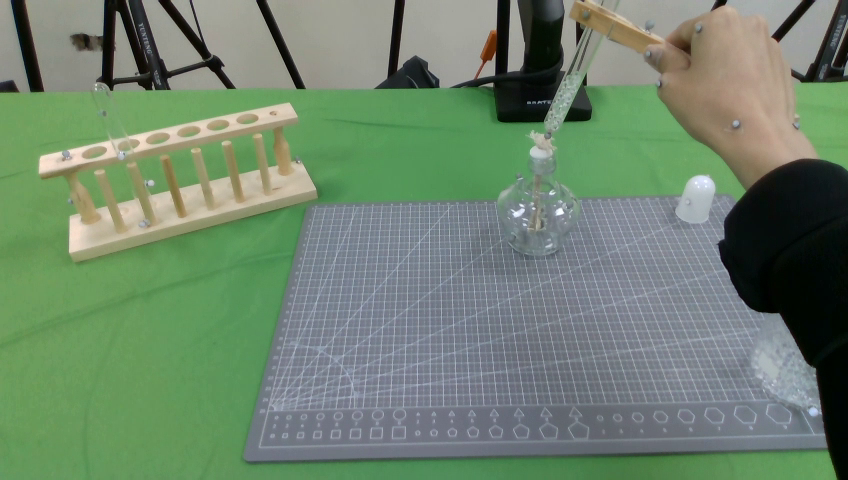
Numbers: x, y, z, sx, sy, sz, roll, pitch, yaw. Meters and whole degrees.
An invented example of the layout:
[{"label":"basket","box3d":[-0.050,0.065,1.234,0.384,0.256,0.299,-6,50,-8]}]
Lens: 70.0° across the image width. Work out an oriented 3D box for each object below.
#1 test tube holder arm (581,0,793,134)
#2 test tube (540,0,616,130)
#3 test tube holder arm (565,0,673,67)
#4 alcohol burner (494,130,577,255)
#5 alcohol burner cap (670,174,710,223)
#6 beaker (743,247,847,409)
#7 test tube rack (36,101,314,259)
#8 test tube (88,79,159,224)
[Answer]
[{"label":"test tube holder arm","box3d":[0.175,-0.126,0.424,0.013,0.015,0.176,-21,52,-37]},{"label":"test tube","box3d":[0.124,-0.150,0.468,0.017,0.151,0.017,12,39,-10]},{"label":"test tube holder arm","box3d":[0.142,-0.151,0.441,0.087,0.015,0.010,38,43,24]},{"label":"alcohol burner","box3d":[0.103,-0.046,0.557,0.078,0.120,0.077,-2,39,2]},{"label":"alcohol burner cap","box3d":[0.268,-0.044,0.606,0.034,0.048,0.033,-1,41,1]},{"label":"beaker","box3d":[0.277,0.064,0.434,0.074,0.101,0.083,-20,43,-21]},{"label":"test tube rack","box3d":[-0.243,-0.065,0.616,0.243,0.086,0.066,-17,43,-17]},{"label":"test tube","box3d":[-0.277,-0.078,0.563,0.017,0.152,0.017,-2,39,2]}]
